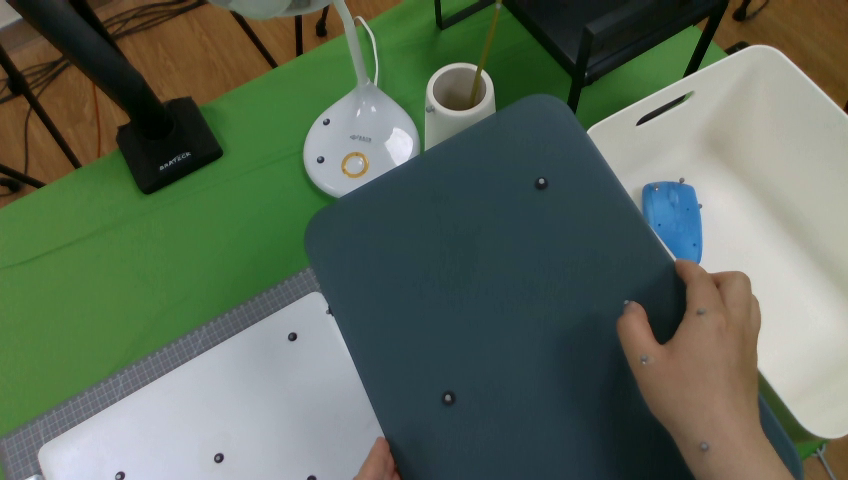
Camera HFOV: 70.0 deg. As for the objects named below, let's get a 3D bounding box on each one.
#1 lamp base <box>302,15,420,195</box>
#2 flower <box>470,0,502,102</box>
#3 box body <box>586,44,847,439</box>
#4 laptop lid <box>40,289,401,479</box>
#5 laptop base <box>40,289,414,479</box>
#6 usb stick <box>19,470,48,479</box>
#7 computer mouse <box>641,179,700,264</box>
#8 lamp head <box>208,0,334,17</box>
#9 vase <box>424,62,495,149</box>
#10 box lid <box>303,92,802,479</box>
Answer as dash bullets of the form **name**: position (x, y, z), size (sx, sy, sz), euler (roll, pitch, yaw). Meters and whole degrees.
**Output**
- **lamp base**: position (-0.090, -0.172, 0.756), size (0.160, 0.182, 0.177), euler (1, 62, 5)
- **flower**: position (0.055, -0.160, 0.639), size (0.038, 0.364, 0.043), euler (-15, 54, -21)
- **box body**: position (0.358, 0.004, 0.653), size (0.254, 0.161, 0.361), euler (-28, 66, -8)
- **laptop lid**: position (-0.215, 0.230, 0.654), size (0.357, 0.013, 0.239), euler (-28, 69, -9)
- **laptop base**: position (-0.216, 0.233, 0.665), size (0.354, 0.023, 0.234), euler (-30, 71, -10)
- **usb stick**: position (-0.420, 0.264, 0.650), size (0.059, 0.027, 0.021), euler (-26, 66, -14)
- **computer mouse**: position (0.298, -0.026, 0.734), size (0.062, 0.041, 0.116), euler (4, 62, 9)
- **lamp head**: position (-0.120, -0.246, 0.462), size (0.112, 0.113, 0.122), euler (-2, 83, 3)
- **vase**: position (0.043, -0.116, 0.710), size (0.098, 0.201, 0.097), euler (-2, 64, 5)
- **box lid**: position (0.075, 0.074, 0.477), size (0.263, 0.015, 0.368), euler (-28, 71, 3)
